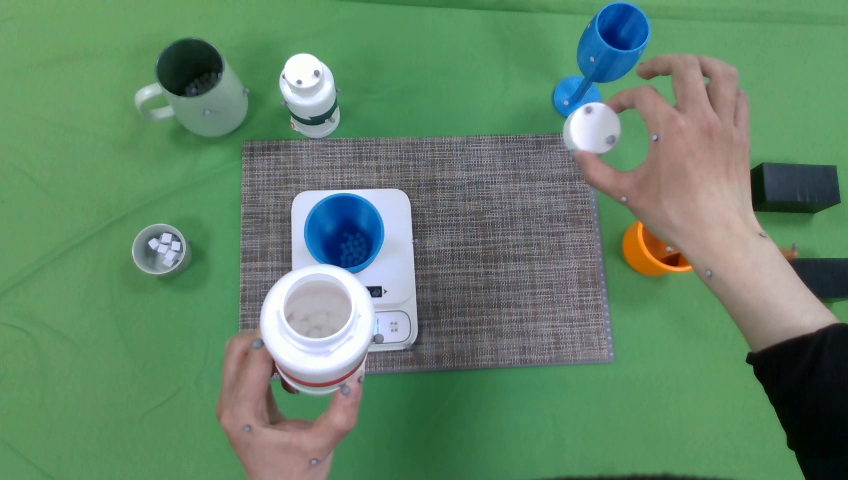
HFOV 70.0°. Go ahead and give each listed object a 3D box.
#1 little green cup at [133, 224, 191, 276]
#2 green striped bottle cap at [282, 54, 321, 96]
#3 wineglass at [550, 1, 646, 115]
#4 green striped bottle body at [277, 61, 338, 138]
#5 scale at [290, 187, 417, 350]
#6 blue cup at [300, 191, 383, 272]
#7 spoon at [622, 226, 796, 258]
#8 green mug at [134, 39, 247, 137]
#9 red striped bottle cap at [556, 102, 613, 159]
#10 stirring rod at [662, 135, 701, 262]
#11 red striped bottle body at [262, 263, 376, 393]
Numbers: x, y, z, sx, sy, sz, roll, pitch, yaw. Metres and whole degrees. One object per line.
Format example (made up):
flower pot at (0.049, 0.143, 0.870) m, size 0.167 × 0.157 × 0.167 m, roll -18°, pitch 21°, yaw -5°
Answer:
little green cup at (-0.312, 0.015, 0.729) m, size 0.061 × 0.039 × 0.061 m, roll 1°, pitch 77°, yaw -5°
green striped bottle cap at (-0.140, -0.189, 0.690) m, size 0.044 × 0.020 × 0.044 m, roll 1°, pitch 77°, yaw -4°
wineglass at (0.208, -0.215, 0.745) m, size 0.074 × 0.173 × 0.073 m, roll 1°, pitch 77°, yaw -3°
green striped bottle body at (-0.142, -0.176, 0.741) m, size 0.063 × 0.119 × 0.063 m, roll 1°, pitch 77°, yaw -3°
scale at (-0.087, 0.034, 0.740) m, size 0.149 × 0.031 × 0.200 m, roll -3°, pitch 78°, yaw -4°
blue cup at (-0.090, 0.000, 0.681) m, size 0.093 × 0.100 × 0.092 m, roll 1°, pitch 79°, yaw -6°
spoon at (0.330, 0.007, 0.718) m, size 0.022 × 0.192 × 0.041 m, roll 19°, pitch 80°, yaw -44°
green mug at (-0.287, -0.177, 0.739) m, size 0.125 × 0.105 × 0.092 m, roll -24°, pitch 80°, yaw -8°
red striped bottle cap at (0.132, -0.090, 0.496) m, size 0.045 × 0.017 × 0.044 m, roll 1°, pitch 84°, yaw -13°
stirring rod at (0.308, -0.044, 0.728) m, size 0.014 × 0.178 × 0.006 m, roll 3°, pitch 37°, yaw 10°
red striped bottle body at (-0.063, 0.054, 0.365) m, size 0.063 × 0.120 × 0.062 m, roll 3°, pitch 68°, yaw -8°
